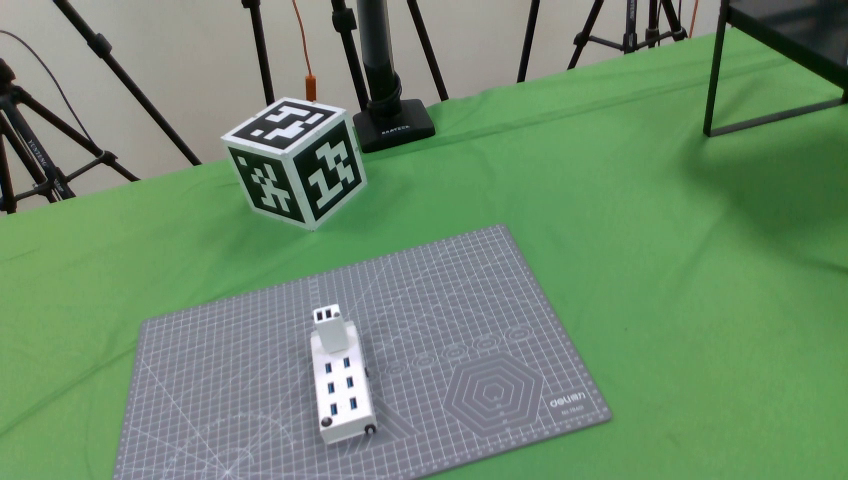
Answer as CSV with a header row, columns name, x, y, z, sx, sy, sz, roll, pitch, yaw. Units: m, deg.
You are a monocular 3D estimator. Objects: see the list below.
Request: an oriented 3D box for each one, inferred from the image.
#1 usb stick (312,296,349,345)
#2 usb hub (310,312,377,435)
name,x,y,z,sx,sy,sz,roll,pitch,yaw
usb stick,-0.090,0.084,0.597,0.027,0.060,0.021,-18,42,-5
usb hub,-0.082,0.127,0.592,0.049,0.025,0.123,-16,40,-4
